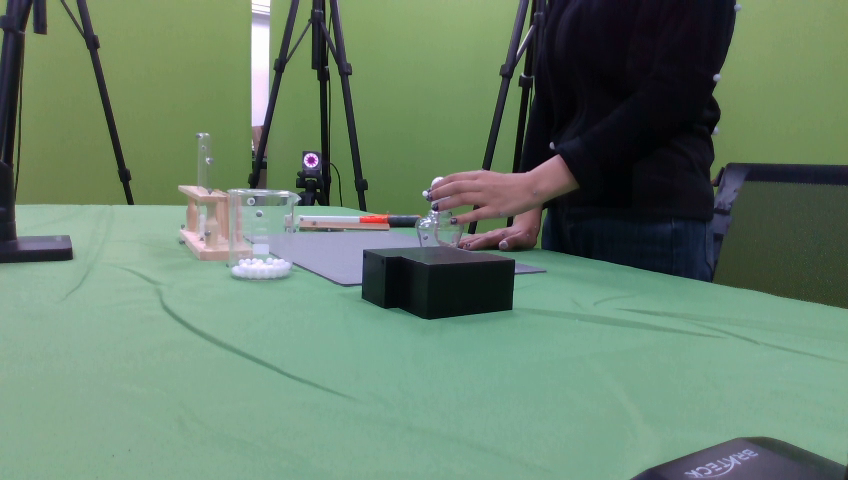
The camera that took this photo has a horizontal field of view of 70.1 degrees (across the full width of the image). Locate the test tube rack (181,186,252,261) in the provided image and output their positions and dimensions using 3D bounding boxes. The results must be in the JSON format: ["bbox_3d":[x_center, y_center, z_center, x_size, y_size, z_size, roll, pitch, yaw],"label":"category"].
[{"bbox_3d":[-0.312,-0.031,0.893,0.067,0.085,0.241,-1,8,-27],"label":"test tube rack"}]

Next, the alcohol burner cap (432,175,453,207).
[{"bbox_3d":[0.027,-0.076,0.931,0.034,0.048,0.034,-3,8,1],"label":"alcohol burner cap"}]

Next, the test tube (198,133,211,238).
[{"bbox_3d":[-0.316,-0.078,0.871,0.017,0.150,0.017,2,3,0],"label":"test tube"}]

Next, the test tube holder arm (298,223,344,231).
[{"bbox_3d":[-0.197,-0.026,1.163,0.088,0.015,0.010,0,-27,-20],"label":"test tube holder arm"}]

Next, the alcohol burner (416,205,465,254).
[{"bbox_3d":[0.025,-0.040,0.935,0.078,0.119,0.078,1,6,0],"label":"alcohol burner"}]

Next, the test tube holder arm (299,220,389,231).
[{"bbox_3d":[-0.153,-0.028,1.174,0.179,0.015,0.013,1,-28,-21],"label":"test tube holder arm"}]

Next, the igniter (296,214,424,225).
[{"bbox_3d":[-0.129,-0.043,1.273,0.278,0.025,0.057,-1,-2,-26],"label":"igniter"}]

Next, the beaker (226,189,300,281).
[{"bbox_3d":[-0.184,-0.007,0.694,0.084,0.100,0.073,-1,8,-29],"label":"beaker"}]
